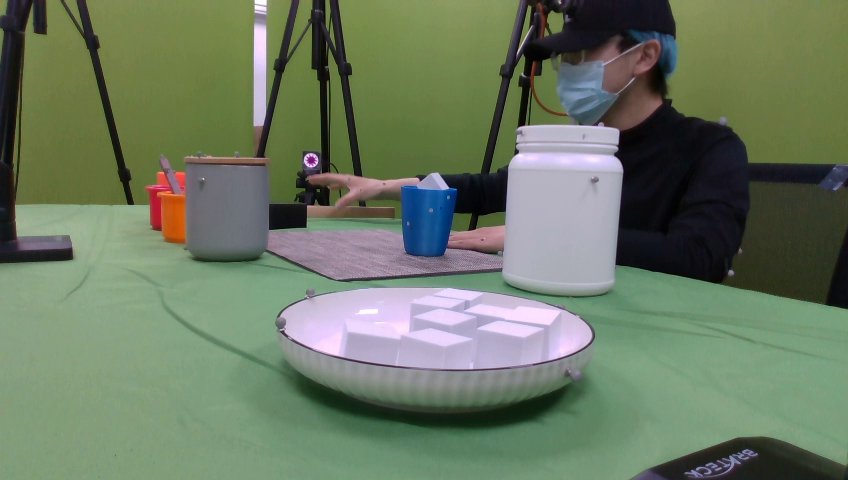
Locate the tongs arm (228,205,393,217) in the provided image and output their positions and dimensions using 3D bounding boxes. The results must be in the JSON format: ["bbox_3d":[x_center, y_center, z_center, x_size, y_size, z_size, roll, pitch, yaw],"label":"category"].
[{"bbox_3d":[-0.267,-0.069,1.453,0.389,0.027,0.028,0,-2,-18],"label":"tongs arm"}]

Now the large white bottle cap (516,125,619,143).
[{"bbox_3d":[0.164,-0.120,0.695,0.115,0.018,0.115,2,7,0],"label":"large white bottle cap"}]

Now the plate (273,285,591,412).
[{"bbox_3d":[0.005,0.069,0.408,0.208,0.039,0.207,2,7,0],"label":"plate"}]

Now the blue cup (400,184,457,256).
[{"bbox_3d":[0.003,-0.030,0.901,0.093,0.100,0.092,4,9,0],"label":"blue cup"}]

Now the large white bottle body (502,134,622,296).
[{"bbox_3d":[0.161,-0.037,0.706,0.131,0.184,0.130,2,7,0],"label":"large white bottle body"}]

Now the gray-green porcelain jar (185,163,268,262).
[{"bbox_3d":[-0.263,-0.038,0.809,0.106,0.126,0.106,3,8,0],"label":"gray-green porcelain jar"}]

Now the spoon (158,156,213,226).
[{"bbox_3d":[-0.434,-0.094,1.121,0.041,0.022,0.193,5,51,13],"label":"spoon"}]

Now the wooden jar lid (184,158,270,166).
[{"bbox_3d":[-0.260,-0.099,0.801,0.108,0.020,0.108,0,9,0],"label":"wooden jar lid"}]

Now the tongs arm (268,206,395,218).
[{"bbox_3d":[-0.230,-0.064,1.380,0.387,0.026,0.050,-1,2,-31],"label":"tongs arm"}]

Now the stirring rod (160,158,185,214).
[{"bbox_3d":[-0.390,-0.070,0.972,0.014,0.006,0.175,-3,51,-48],"label":"stirring rod"}]

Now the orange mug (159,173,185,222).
[{"bbox_3d":[-0.477,-0.089,1.241,0.127,0.101,0.083,-7,11,-33],"label":"orange mug"}]
